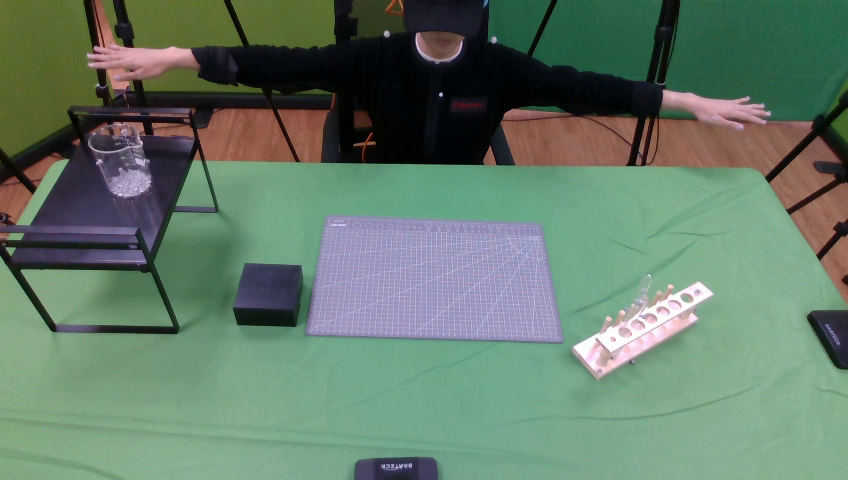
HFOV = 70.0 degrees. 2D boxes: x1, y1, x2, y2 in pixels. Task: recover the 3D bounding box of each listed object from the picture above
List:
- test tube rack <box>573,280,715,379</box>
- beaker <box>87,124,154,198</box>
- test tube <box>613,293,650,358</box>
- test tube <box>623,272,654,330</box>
[{"bbox_3d":[0.378,0.140,1.038,0.242,0.085,0.066,-22,51,-23],"label":"test tube rack"},{"bbox_3d":[-0.482,-0.124,0.978,0.084,0.101,0.073,9,46,4],"label":"beaker"},{"bbox_3d":[0.329,0.140,0.966,0.017,0.151,0.017,4,43,-3],"label":"test tube"},{"bbox_3d":[0.356,0.104,1.010,0.017,0.151,0.017,1,46,-1],"label":"test tube"}]
